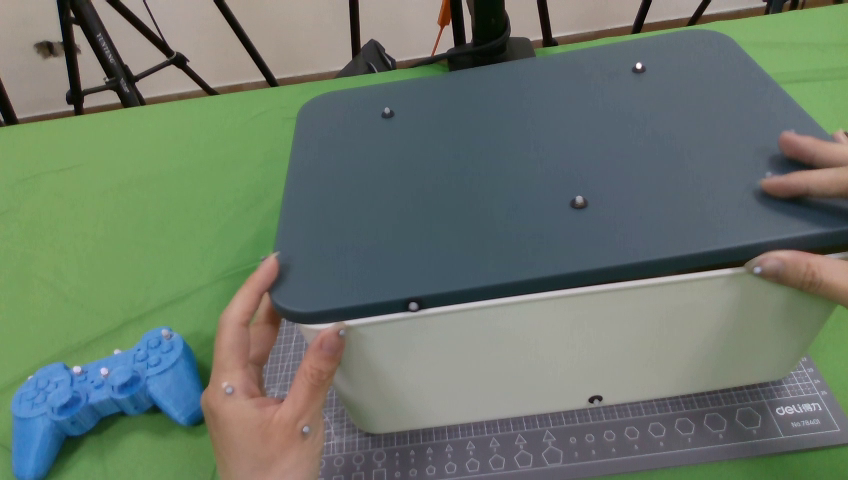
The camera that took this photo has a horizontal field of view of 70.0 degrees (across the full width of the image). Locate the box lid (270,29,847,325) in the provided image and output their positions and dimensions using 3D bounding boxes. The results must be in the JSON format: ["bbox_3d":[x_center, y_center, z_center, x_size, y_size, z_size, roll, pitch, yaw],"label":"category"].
[{"bbox_3d":[0.079,-0.064,0.437,0.371,0.015,0.260,-9,42,3],"label":"box lid"}]

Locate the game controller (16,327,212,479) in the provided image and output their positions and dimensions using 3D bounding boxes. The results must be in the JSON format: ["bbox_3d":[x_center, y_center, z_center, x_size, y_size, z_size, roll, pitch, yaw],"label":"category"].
[{"bbox_3d":[-0.263,0.129,0.509,0.155,0.052,0.096,-18,42,-9],"label":"game controller"}]

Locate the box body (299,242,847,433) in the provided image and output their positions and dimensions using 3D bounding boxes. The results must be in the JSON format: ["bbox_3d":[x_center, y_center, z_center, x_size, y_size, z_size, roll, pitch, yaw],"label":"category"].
[{"bbox_3d":[0.098,-0.005,0.489,0.364,0.162,0.251,-9,45,2],"label":"box body"}]
